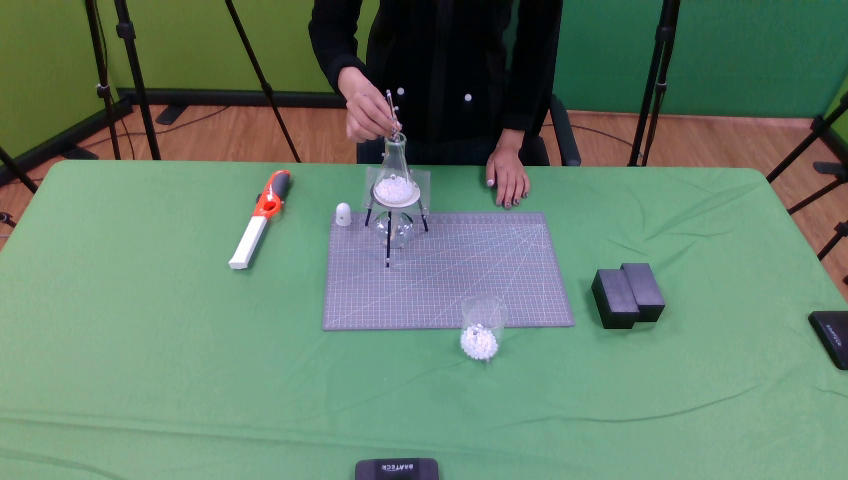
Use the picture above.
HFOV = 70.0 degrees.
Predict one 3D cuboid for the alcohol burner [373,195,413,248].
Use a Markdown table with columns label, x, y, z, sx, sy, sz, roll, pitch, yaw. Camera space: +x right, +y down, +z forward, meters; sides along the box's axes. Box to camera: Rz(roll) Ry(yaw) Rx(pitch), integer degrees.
| label | x | y | z | sx | sy | sz | roll | pitch | yaw |
| --- | --- | --- | --- | --- | --- | --- | --- | --- | --- |
| alcohol burner | -0.059 | -0.041 | 1.167 | 0.078 | 0.119 | 0.077 | 4 | 46 | -4 |

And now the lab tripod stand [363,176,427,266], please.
| label | x | y | z | sx | sy | sz | roll | pitch | yaw |
| --- | --- | --- | --- | --- | --- | --- | --- | --- | --- |
| lab tripod stand | -0.058 | -0.047 | 1.159 | 0.148 | 0.132 | 0.147 | 3 | 44 | -2 |

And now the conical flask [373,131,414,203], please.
| label | x | y | z | sx | sy | sz | roll | pitch | yaw |
| --- | --- | --- | --- | --- | --- | --- | --- | --- | --- |
| conical flask | -0.053 | -0.131 | 1.066 | 0.075 | 0.122 | 0.075 | 2 | 44 | -2 |

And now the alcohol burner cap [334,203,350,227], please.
| label | x | y | z | sx | sy | sz | roll | pitch | yaw |
| --- | --- | --- | --- | --- | --- | --- | --- | --- | --- |
| alcohol burner cap | -0.166 | -0.053 | 1.221 | 0.034 | 0.048 | 0.033 | 2 | 46 | -2 |

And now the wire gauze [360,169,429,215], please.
| label | x | y | z | sx | sy | sz | roll | pitch | yaw |
| --- | --- | --- | --- | --- | --- | --- | --- | --- | --- |
| wire gauze | -0.052 | -0.092 | 1.111 | 0.125 | 0.011 | 0.120 | 3 | 43 | 1 |

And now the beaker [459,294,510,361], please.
| label | x | y | z | sx | sy | sz | roll | pitch | yaw |
| --- | --- | --- | --- | --- | --- | --- | --- | --- | --- |
| beaker | 0.095 | 0.147 | 1.012 | 0.083 | 0.101 | 0.074 | 26 | 49 | 21 |

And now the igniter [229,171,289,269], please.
| label | x | y | z | sx | sy | sz | roll | pitch | yaw |
| --- | --- | --- | --- | --- | --- | --- | --- | --- | --- |
| igniter | -0.328 | -0.049 | 1.218 | 0.057 | 0.025 | 0.275 | 1 | 45 | 11 |

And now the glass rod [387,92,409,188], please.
| label | x | y | z | sx | sy | sz | roll | pitch | yaw |
| --- | --- | --- | --- | --- | --- | --- | --- | --- | --- |
| glass rod | -0.043 | -0.165 | 1.036 | 0.008 | 0.201 | 0.008 | -5 | 46 | 6 |
